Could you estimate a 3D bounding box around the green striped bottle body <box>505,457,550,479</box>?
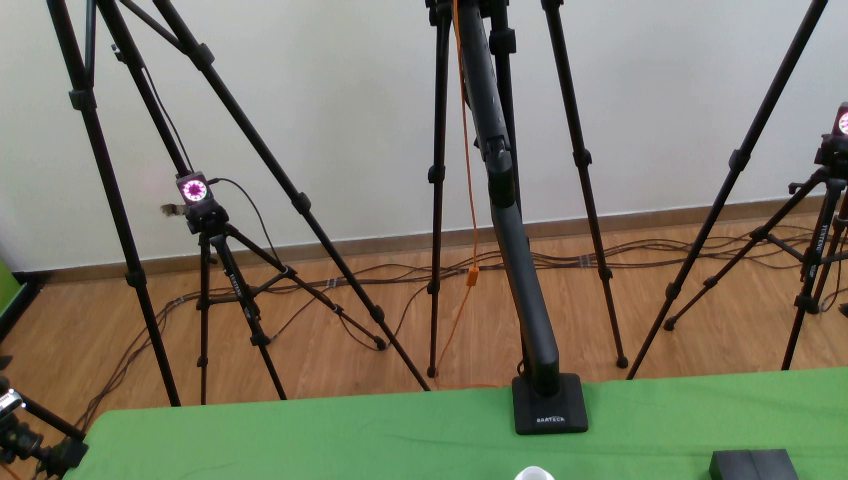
[{"bbox_3d":[0.150,0.359,0.867,0.063,0.120,0.062,-6,40,6],"label":"green striped bottle body"}]
